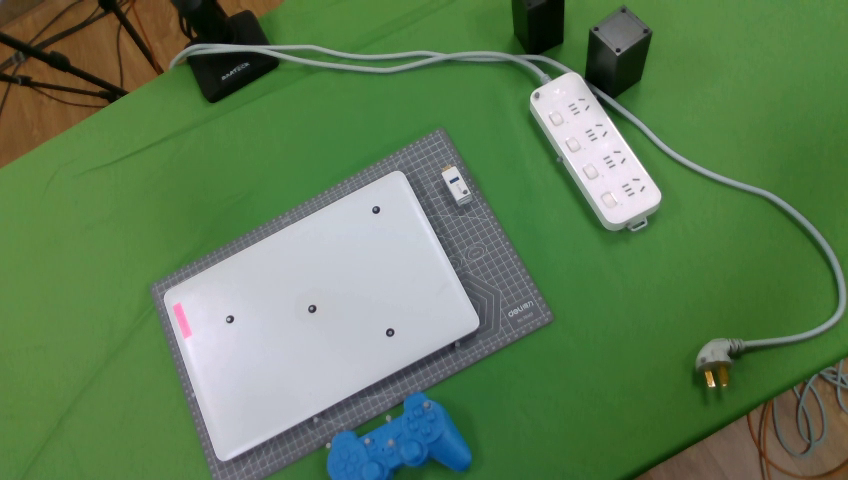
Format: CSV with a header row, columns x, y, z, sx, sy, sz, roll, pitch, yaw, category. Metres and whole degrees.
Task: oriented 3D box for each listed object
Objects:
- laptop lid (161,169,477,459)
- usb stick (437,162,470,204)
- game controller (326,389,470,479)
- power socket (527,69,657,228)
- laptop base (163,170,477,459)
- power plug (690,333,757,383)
x,y,z,sx,sy,sz,roll,pitch,yaw,category
-0.139,0.084,0.746,0.357,0.013,0.240,-27,72,2,laptop lid
0.034,-0.077,0.768,0.021,0.027,0.058,-30,67,3,usb stick
-0.036,0.235,0.678,0.155,0.052,0.096,-28,65,1,game controller
0.203,-0.115,0.746,0.072,0.033,0.225,-28,70,3,power socket
-0.137,0.086,0.758,0.354,0.023,0.234,-28,73,1,laptop base
0.322,0.123,0.644,0.072,0.035,0.052,-15,53,19,power plug
